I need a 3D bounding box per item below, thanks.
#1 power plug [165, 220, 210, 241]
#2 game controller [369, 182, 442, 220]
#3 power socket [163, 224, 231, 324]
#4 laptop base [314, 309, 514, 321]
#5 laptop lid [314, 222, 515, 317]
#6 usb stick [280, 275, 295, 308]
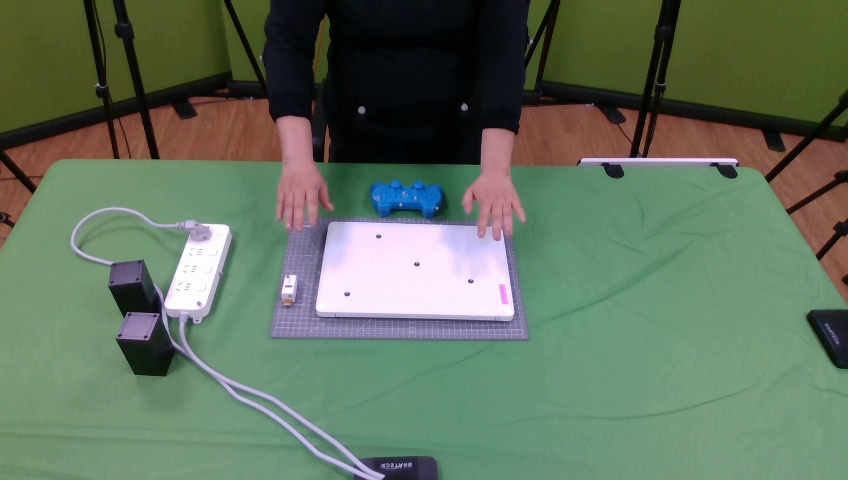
[{"bbox_3d":[-0.440,-0.015,1.144,0.072,0.053,0.035,7,46,9],"label":"power plug"},{"bbox_3d":[-0.039,-0.092,1.268,0.155,0.052,0.096,2,50,-2],"label":"game controller"},{"bbox_3d":[-0.411,0.052,1.107,0.072,0.033,0.225,3,46,-3],"label":"power socket"},{"bbox_3d":[-0.017,0.059,1.141,0.354,0.023,0.234,2,42,-3],"label":"laptop base"},{"bbox_3d":[-0.016,0.049,1.134,0.357,0.013,0.240,3,43,-2],"label":"laptop lid"},{"bbox_3d":[-0.244,0.093,1.080,0.021,0.027,0.059,3,48,-4],"label":"usb stick"}]
